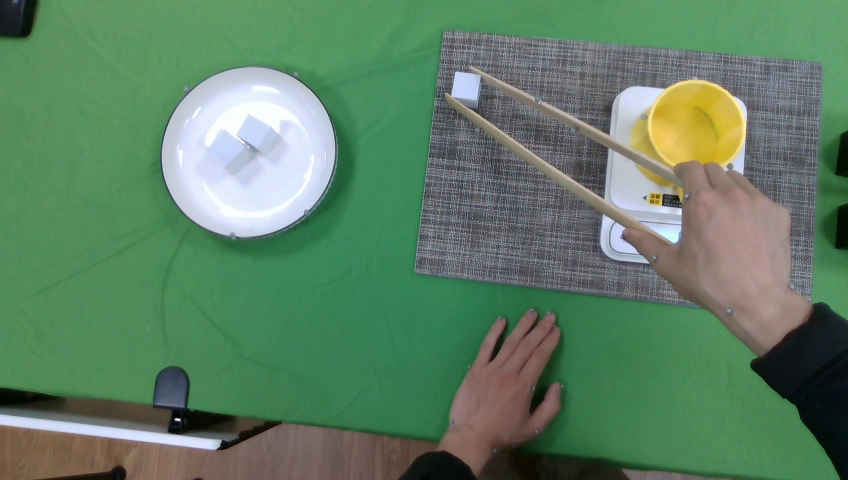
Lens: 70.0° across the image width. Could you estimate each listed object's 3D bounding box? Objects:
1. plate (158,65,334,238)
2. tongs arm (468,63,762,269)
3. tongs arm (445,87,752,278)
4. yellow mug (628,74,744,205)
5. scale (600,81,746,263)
[{"bbox_3d":[-0.208,-0.103,0.723,0.207,0.039,0.207,0,84,3],"label":"plate"},{"bbox_3d":[0.157,-0.092,0.593,0.051,0.027,0.380,-49,51,-2],"label":"tongs arm"},{"bbox_3d":[0.138,-0.072,0.594,0.028,0.028,0.383,-44,51,-3],"label":"tongs arm"},{"bbox_3d":[0.279,-0.103,0.647,0.100,0.064,0.130,-4,85,2],"label":"yellow mug"},{"bbox_3d":[0.284,-0.078,0.691,0.148,0.031,0.200,6,85,4],"label":"scale"}]
